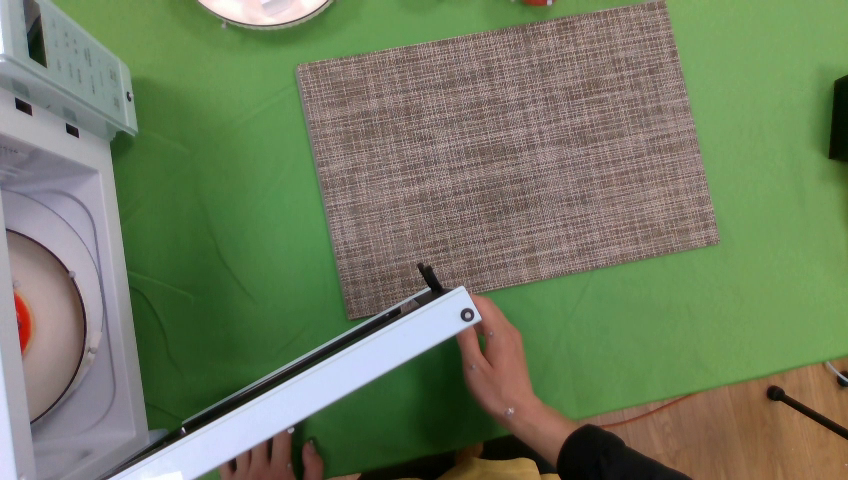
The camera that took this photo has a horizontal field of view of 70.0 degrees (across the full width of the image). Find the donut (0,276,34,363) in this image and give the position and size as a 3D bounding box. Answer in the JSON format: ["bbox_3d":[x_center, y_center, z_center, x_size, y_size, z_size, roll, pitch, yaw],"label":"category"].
[{"bbox_3d":[-0.429,0.080,0.581,0.099,0.048,0.099,0,85,-3],"label":"donut"}]

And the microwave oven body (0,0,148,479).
[{"bbox_3d":[-0.449,0.025,0.544,0.326,0.260,0.441,-9,89,-4],"label":"microwave oven body"}]

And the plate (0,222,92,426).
[{"bbox_3d":[-0.431,0.084,0.595,0.209,0.038,0.209,0,88,-4],"label":"plate"}]

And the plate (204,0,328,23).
[{"bbox_3d":[-0.180,-0.345,0.690,0.208,0.039,0.207,0,88,-3],"label":"plate"}]

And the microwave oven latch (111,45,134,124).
[{"bbox_3d":[-0.335,-0.167,0.654,0.030,0.029,0.079,-7,89,-4],"label":"microwave oven latch"}]

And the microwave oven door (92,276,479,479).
[{"bbox_3d":[-0.124,0.132,0.555,0.356,0.244,0.039,-29,88,-4],"label":"microwave oven door"}]
